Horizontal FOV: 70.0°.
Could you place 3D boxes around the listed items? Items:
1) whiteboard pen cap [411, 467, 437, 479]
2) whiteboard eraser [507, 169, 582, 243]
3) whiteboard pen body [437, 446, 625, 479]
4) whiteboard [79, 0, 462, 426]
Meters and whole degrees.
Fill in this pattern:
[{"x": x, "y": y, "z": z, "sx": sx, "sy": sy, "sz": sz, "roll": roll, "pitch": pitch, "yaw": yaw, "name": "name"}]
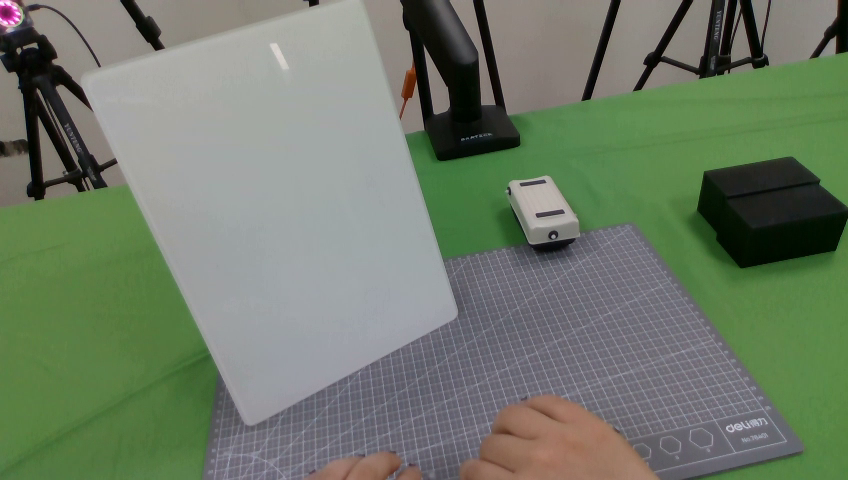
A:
[{"x": -0.005, "y": 0.160, "z": 0.379, "sx": 0.018, "sy": 0.018, "sz": 0.033, "roll": 30, "pitch": 76, "yaw": 38, "name": "whiteboard pen cap"}, {"x": 0.132, "y": -0.039, "z": 0.676, "sx": 0.055, "sy": 0.042, "sz": 0.111, "roll": -12, "pitch": 34, "yaw": -1, "name": "whiteboard eraser"}, {"x": 0.056, "y": 0.149, "z": 0.381, "sx": 0.141, "sy": 0.017, "sz": 0.017, "roll": -10, "pitch": 38, "yaw": 1, "name": "whiteboard pen body"}, {"x": -0.126, "y": -0.036, "z": 0.553, "sx": 0.217, "sy": 0.307, "sz": 0.142, "roll": -25, "pitch": 22, "yaw": -19, "name": "whiteboard"}]
